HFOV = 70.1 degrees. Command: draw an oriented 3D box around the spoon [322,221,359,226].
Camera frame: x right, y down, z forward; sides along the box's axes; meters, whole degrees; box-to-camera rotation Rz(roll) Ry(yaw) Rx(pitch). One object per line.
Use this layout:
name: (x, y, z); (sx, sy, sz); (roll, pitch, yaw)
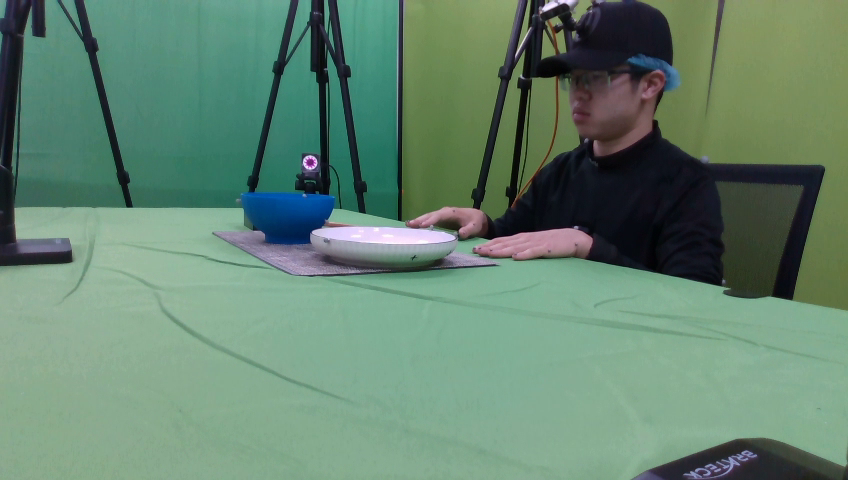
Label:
spoon: (-0.197, -0.028, 1.149); (0.195, 0.021, 0.041); (-2, -9, -30)

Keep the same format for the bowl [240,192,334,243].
bowl: (-0.223, -0.037, 0.992); (0.151, 0.077, 0.151); (2, 7, 0)

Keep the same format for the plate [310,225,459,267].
plate: (-0.055, 0.008, 0.851); (0.208, 0.039, 0.207); (2, 7, 0)
